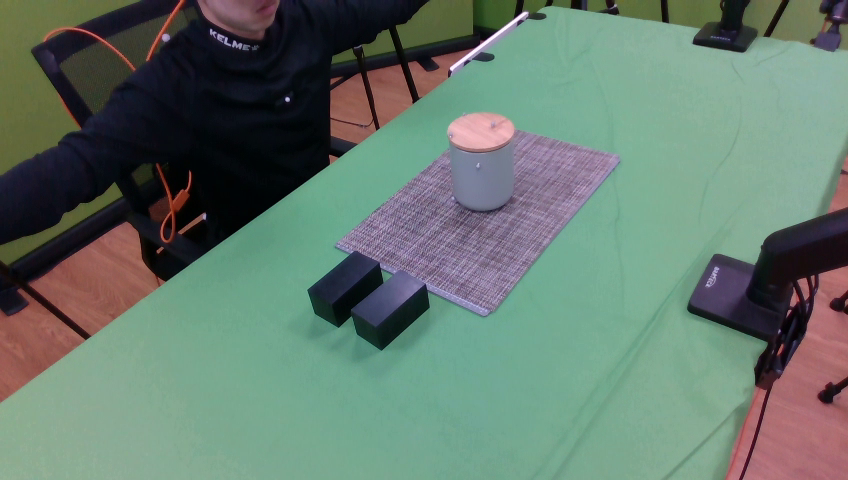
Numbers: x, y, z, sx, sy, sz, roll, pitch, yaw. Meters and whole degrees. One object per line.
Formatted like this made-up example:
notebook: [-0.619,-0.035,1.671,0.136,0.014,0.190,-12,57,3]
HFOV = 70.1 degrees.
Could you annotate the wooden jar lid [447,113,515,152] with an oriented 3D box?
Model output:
wooden jar lid: [0.091,-0.169,0.968,0.108,0.021,0.108,-4,42,4]

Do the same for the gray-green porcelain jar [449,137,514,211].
gray-green porcelain jar: [0.098,-0.120,1.008,0.106,0.127,0.105,-4,41,4]
